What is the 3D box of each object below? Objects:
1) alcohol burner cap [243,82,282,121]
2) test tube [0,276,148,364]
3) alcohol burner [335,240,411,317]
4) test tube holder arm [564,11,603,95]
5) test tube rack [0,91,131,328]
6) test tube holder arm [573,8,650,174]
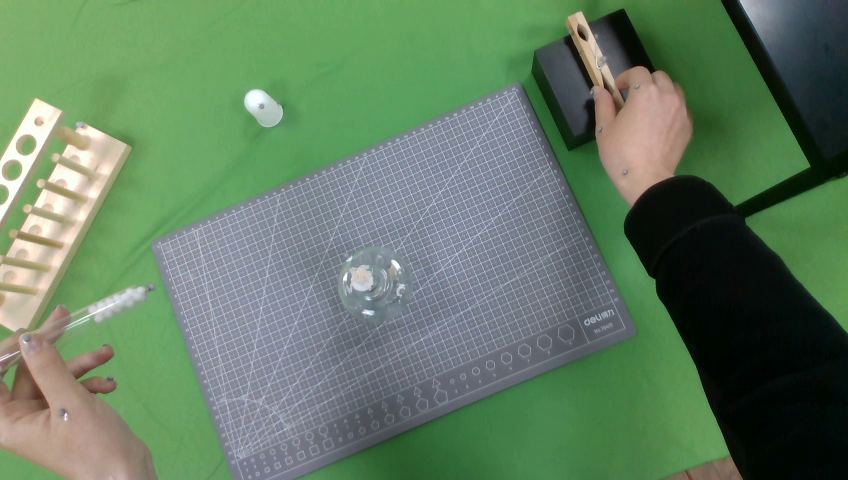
[{"bbox_3d":[-0.181,-0.156,0.670,0.034,0.048,0.033,-2,79,8],"label":"alcohol burner cap"},{"bbox_3d":[-0.256,0.061,0.406,0.017,0.150,0.017,20,124,32],"label":"test tube"},{"bbox_3d":[-0.054,0.036,0.599,0.078,0.119,0.077,-1,81,7],"label":"alcohol burner"},{"bbox_3d":[0.163,-0.188,0.607,0.010,0.015,0.087,-23,84,2],"label":"test tube holder arm"},{"bbox_3d":[-0.425,-0.028,0.654,0.066,0.085,0.242,26,86,8],"label":"test tube rack"},{"bbox_3d":[0.185,-0.149,0.603,0.013,0.015,0.178,-24,84,2],"label":"test tube holder arm"}]
